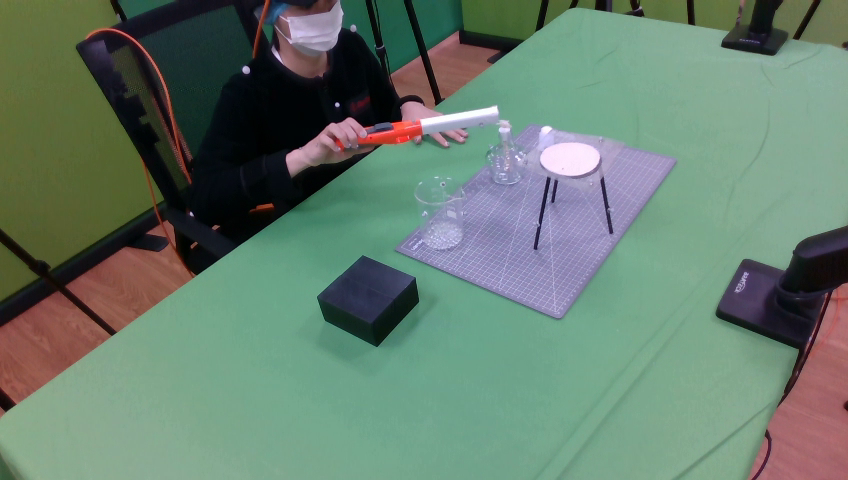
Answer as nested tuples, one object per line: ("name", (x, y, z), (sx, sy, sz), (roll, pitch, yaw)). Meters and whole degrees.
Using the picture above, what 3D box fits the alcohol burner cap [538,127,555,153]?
("alcohol burner cap", (0.234, -0.191, 1.147), (0.034, 0.048, 0.033), (-5, 40, 5))

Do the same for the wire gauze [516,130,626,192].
("wire gauze", (0.216, -0.124, 0.892), (0.124, 0.011, 0.122), (22, 49, 31))

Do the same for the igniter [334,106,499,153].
("igniter", (-0.015, -0.181, 0.994), (0.277, 0.057, 0.025), (-11, 68, 0))

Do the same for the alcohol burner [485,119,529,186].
("alcohol burner", (0.145, -0.157, 1.064), (0.078, 0.119, 0.077), (-6, 39, 5))

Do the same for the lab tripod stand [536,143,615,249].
("lab tripod stand", (0.224, -0.069, 0.931), (0.148, 0.132, 0.147), (-4, 42, 4))

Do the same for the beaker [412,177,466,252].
("beaker", (0.029, -0.038, 0.952), (0.083, 0.101, 0.074), (9, 43, 18))
